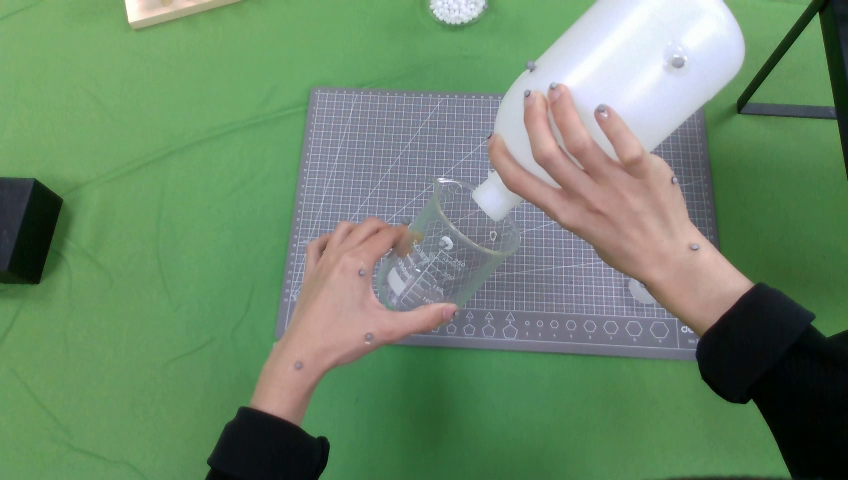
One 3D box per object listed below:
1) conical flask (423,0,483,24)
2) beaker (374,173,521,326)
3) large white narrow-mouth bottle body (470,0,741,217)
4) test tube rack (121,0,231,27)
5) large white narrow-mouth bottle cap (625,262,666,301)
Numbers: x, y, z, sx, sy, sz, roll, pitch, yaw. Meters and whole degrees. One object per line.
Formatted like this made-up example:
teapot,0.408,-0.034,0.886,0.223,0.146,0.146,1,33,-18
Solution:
conical flask,0.034,-0.316,0.694,0.075,0.122,0.075,-1,69,2
beaker,0.011,0.010,0.459,0.083,0.100,0.074,48,35,15
large white narrow-mouth bottle body,0.109,-0.092,0.420,0.195,0.102,0.101,-45,72,14
test tube rack,-0.260,-0.342,0.730,0.242,0.086,0.066,-17,70,-5
large white narrow-mouth bottle cap,0.223,0.042,0.608,0.038,0.024,0.037,-1,71,3
